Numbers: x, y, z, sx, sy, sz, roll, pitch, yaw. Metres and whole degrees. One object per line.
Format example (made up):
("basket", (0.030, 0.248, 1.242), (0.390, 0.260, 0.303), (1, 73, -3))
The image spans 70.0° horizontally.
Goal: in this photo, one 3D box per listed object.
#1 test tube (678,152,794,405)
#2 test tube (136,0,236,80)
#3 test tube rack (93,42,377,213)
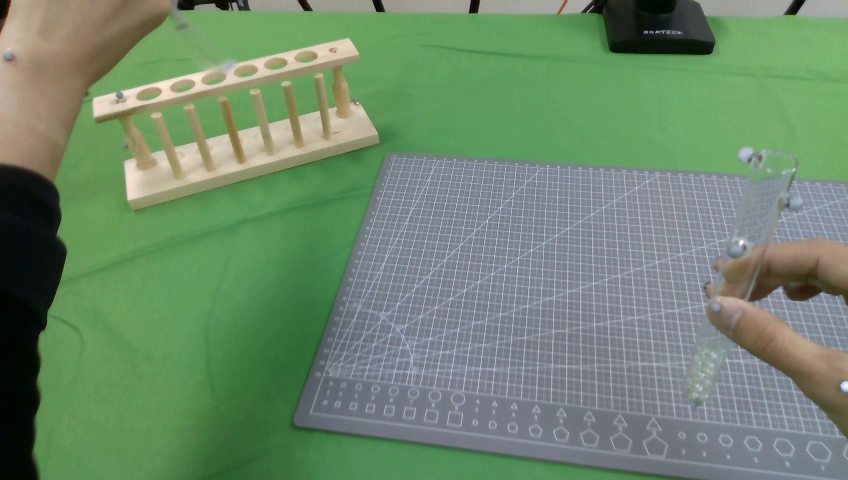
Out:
("test tube", (0.136, 0.027, 0.274), (0.017, 0.151, 0.017), (-3, 40, 3))
("test tube", (-0.191, -0.168, 0.431), (0.017, 0.152, 0.017), (-15, 55, 23))
("test tube rack", (-0.174, -0.111, 0.585), (0.243, 0.086, 0.066), (-18, 47, -14))
